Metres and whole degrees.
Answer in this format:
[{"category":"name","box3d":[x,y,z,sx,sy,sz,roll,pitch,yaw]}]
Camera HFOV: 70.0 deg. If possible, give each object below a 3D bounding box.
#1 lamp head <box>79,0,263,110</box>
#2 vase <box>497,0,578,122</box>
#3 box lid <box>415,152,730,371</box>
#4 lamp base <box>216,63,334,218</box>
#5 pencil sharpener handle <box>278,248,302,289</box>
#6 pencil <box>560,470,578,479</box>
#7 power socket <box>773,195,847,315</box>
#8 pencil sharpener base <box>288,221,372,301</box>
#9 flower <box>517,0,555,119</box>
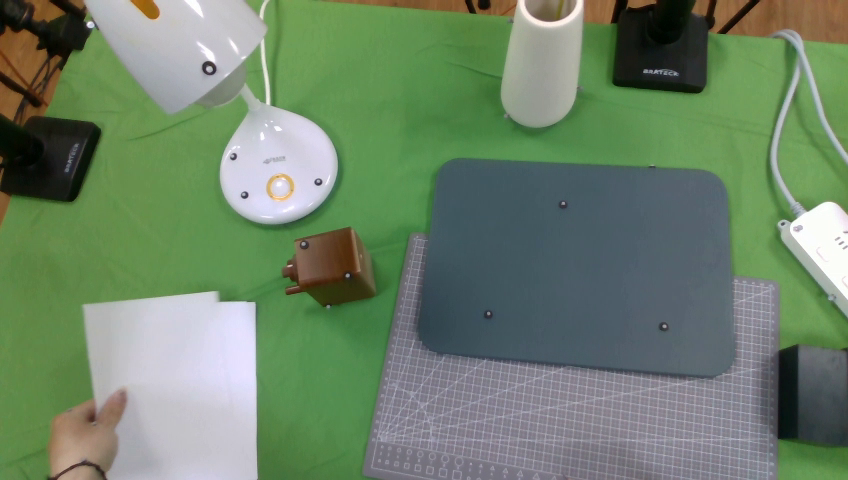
[{"category":"lamp head","box3d":[-0.206,-0.183,0.471,0.112,0.124,0.111,-29,31,20]},{"category":"vase","box3d":[0.140,-0.228,0.736,0.098,0.201,0.097,-1,70,4]},{"category":"box lid","box3d":[0.183,0.017,0.750,0.371,0.015,0.261,4,72,7]},{"category":"lamp base","box3d":[-0.213,-0.139,0.749,0.160,0.181,0.177,-22,68,-2]},{"category":"pencil sharpener handle","box3d":[-0.161,0.038,0.712,0.030,0.068,0.035,-12,59,2]},{"category":"pencil","box3d":[0.209,0.287,0.597,0.194,0.012,0.012,39,79,-2]},{"category":"power socket","box3d":[0.506,0.045,0.699,0.072,0.033,0.225,-30,71,-5]},{"category":"pencil sharpener base","box3d":[-0.111,0.028,0.724,0.077,0.108,0.061,-12,71,2]},{"category":"flower","box3d":[0.144,-0.266,0.661,0.044,0.364,0.038,-15,59,-16]}]
